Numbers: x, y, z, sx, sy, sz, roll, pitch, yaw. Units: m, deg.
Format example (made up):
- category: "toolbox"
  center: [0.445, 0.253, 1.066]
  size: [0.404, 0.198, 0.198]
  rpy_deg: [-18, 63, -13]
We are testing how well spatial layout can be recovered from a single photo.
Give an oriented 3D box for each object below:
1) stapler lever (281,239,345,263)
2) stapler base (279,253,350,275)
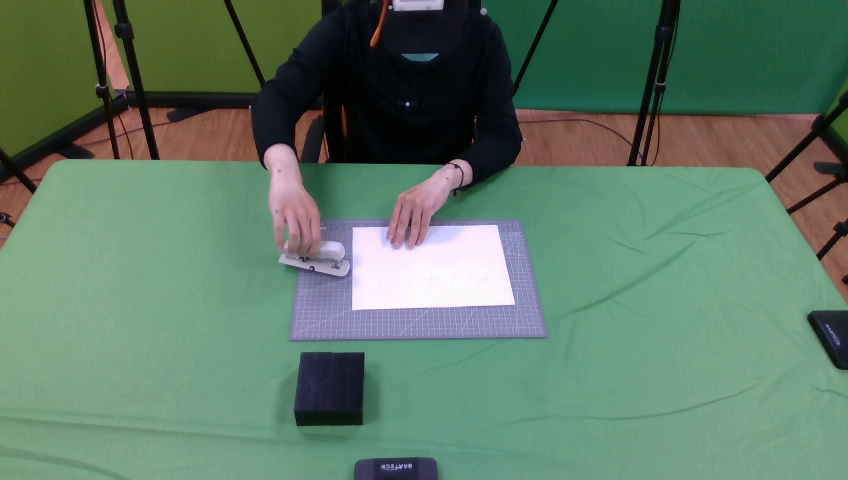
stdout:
- category: "stapler lever"
  center: [-0.203, 0.015, 1.112]
  size: [0.118, 0.040, 0.026]
  rpy_deg: [11, 41, 6]
- category: "stapler base"
  center: [-0.204, 0.033, 1.129]
  size: [0.130, 0.024, 0.041]
  rpy_deg: [11, 41, 6]
